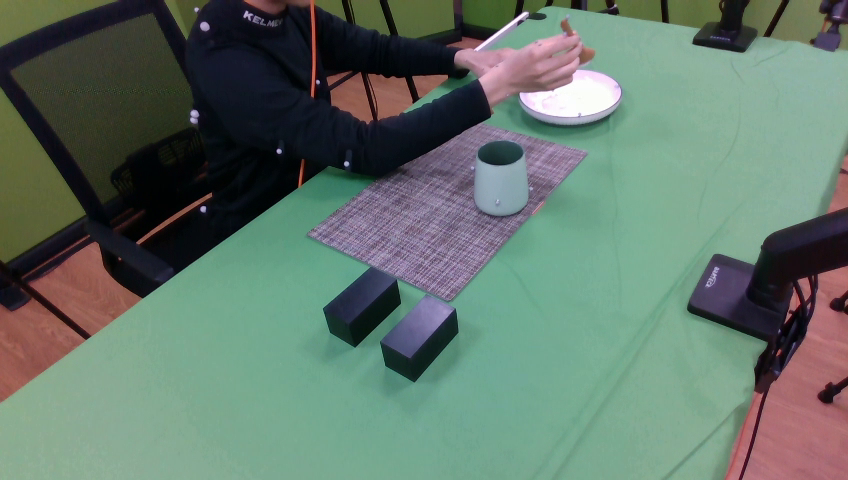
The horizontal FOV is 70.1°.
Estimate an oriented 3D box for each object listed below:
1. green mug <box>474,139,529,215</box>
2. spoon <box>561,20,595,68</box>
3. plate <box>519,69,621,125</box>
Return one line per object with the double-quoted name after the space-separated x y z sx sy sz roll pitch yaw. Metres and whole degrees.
0.126 -0.113 1.013 0.092 0.105 0.124 -8 41 -1 "green mug"
0.255 -0.329 1.016 0.041 0.195 0.021 -38 68 20 "spoon"
0.300 -0.293 1.253 0.209 0.038 0.208 -4 41 4 "plate"
